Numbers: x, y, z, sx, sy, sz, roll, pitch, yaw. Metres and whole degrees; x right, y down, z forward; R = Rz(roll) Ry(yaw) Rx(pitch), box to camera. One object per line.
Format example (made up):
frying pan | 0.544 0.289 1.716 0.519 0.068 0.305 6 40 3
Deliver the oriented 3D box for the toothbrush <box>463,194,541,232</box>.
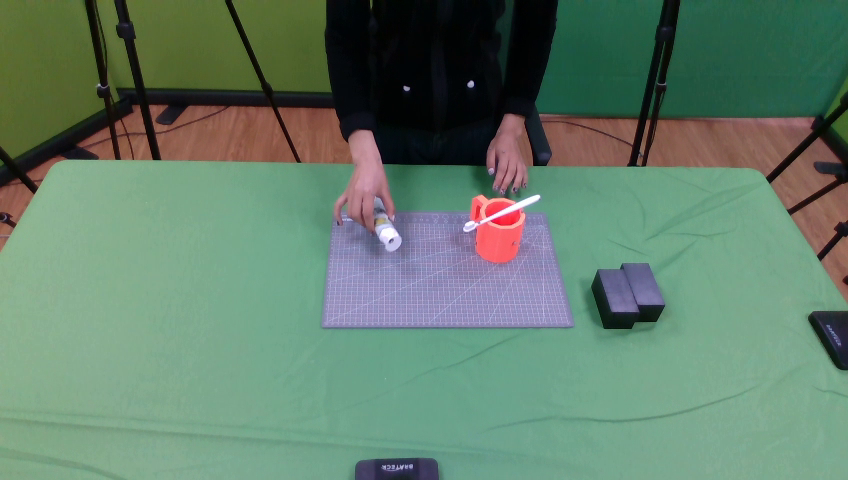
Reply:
toothbrush | 0.149 -0.054 1.131 0.182 0.017 0.014 -23 48 -24

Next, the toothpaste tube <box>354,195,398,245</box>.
toothpaste tube | -0.089 -0.041 1.188 0.055 0.035 0.164 -16 40 -16

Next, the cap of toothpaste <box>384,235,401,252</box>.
cap of toothpaste | -0.060 0.005 1.127 0.037 0.037 0.011 -25 48 -25

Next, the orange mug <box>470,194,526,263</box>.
orange mug | 0.136 -0.030 1.180 0.083 0.101 0.125 -26 58 -26
